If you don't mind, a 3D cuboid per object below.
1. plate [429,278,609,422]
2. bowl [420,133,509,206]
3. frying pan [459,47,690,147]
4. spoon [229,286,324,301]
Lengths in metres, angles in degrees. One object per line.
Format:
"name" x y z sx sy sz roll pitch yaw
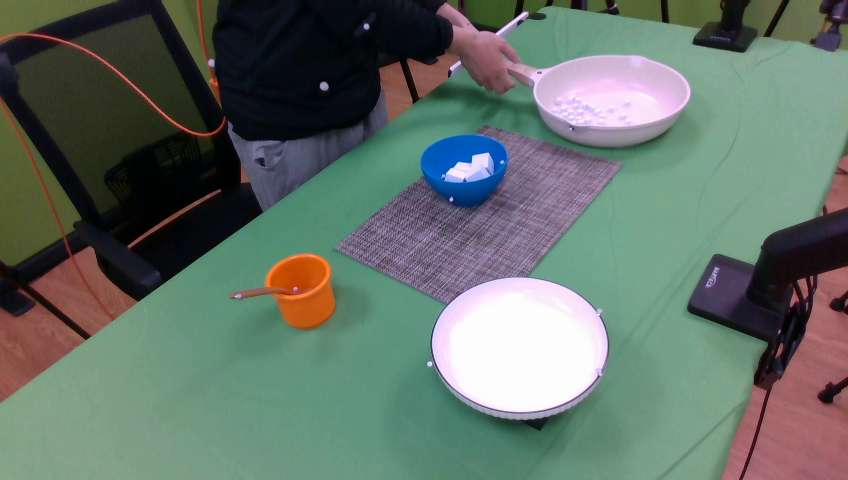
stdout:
"plate" 0.111 0.129 0.716 0.207 0.039 0.206 -5 39 4
"bowl" 0.071 -0.112 1.038 0.151 0.077 0.150 -4 40 4
"frying pan" 0.280 -0.317 1.234 0.485 0.103 0.307 28 50 23
"spoon" -0.197 0.071 0.816 0.041 0.195 0.021 13 88 23
